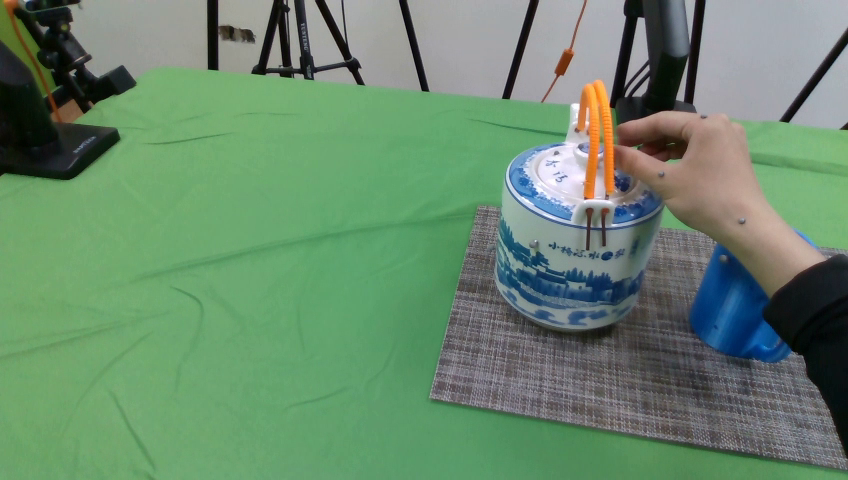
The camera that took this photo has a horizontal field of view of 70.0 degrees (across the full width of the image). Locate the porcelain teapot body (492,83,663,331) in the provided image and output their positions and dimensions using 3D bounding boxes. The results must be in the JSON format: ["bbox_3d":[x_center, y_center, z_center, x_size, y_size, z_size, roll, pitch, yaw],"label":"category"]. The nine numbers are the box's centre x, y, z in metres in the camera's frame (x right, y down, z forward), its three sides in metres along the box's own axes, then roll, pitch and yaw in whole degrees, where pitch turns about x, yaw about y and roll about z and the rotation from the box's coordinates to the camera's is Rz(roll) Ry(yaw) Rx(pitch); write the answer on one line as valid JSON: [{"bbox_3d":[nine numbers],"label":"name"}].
[{"bbox_3d":[0.144,-0.051,0.585,0.145,0.227,0.203,3,38,3],"label":"porcelain teapot body"}]

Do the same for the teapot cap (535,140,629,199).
[{"bbox_3d":[0.141,-0.065,0.538,0.085,0.044,0.084,4,36,-2],"label":"teapot cap"}]

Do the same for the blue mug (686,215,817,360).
[{"bbox_3d":[0.303,0.052,0.553,0.082,0.107,0.115,-3,39,-4],"label":"blue mug"}]
